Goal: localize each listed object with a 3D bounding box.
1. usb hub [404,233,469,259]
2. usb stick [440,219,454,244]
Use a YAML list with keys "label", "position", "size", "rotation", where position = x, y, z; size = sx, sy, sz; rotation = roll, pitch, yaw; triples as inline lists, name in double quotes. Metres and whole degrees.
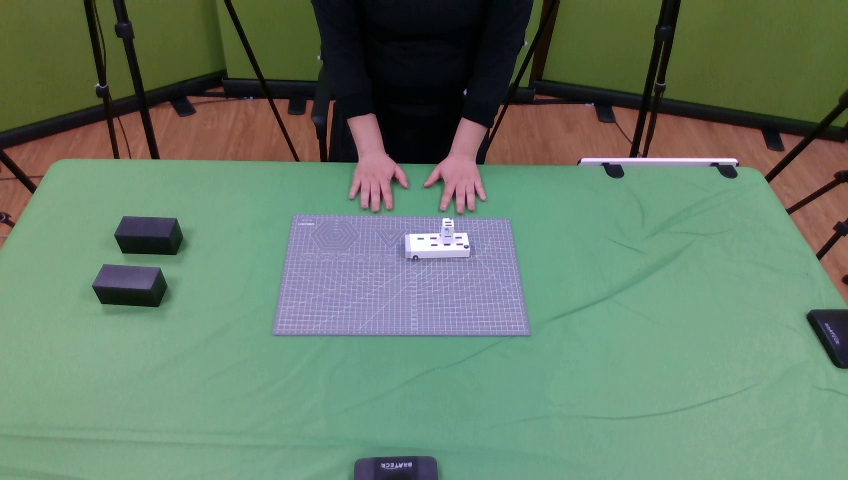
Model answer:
- label: "usb hub"
  position: [0.024, 0.012, 1.181]
  size: [0.125, 0.025, 0.049]
  rotation: [-2, 46, -5]
- label: "usb stick"
  position: [0.043, -0.011, 1.166]
  size: [0.021, 0.059, 0.027]
  rotation: [-3, 48, -8]
